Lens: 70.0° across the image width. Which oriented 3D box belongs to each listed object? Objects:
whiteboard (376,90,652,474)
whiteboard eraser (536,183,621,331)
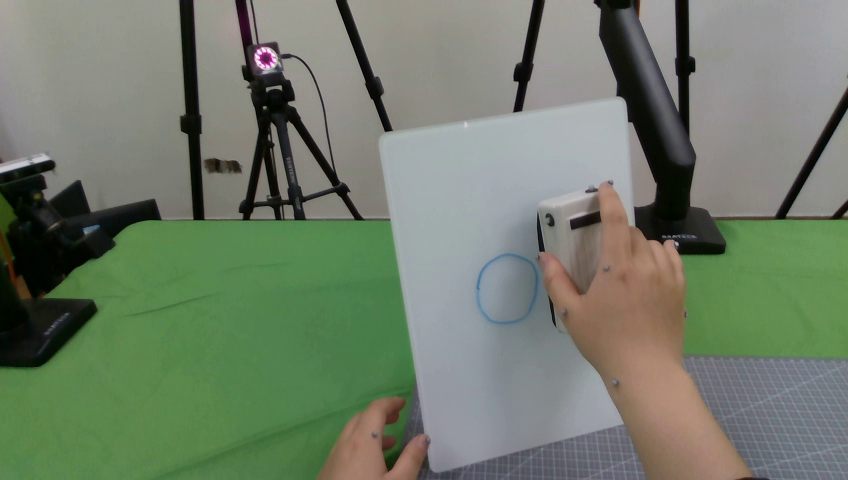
[{"bbox_3d":[0.076,0.028,0.589,0.217,0.306,0.143,-11,12,-10],"label":"whiteboard"},{"bbox_3d":[0.124,0.014,0.493,0.056,0.113,0.041,-15,13,-18],"label":"whiteboard eraser"}]
